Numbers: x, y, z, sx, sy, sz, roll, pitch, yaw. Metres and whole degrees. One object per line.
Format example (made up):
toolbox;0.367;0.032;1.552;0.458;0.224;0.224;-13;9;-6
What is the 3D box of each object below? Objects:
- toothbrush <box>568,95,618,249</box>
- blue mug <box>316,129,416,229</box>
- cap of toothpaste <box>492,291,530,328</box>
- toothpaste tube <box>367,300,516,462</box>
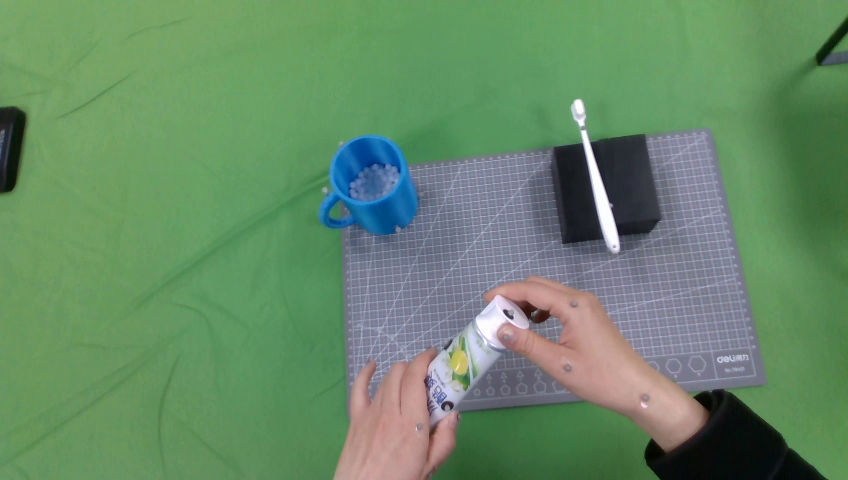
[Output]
toothbrush;0.184;-0.077;0.659;0.014;0.017;0.180;-10;74;-1
blue mug;-0.070;-0.057;0.686;0.116;0.106;0.082;-33;73;-3
cap of toothpaste;0.066;0.055;0.469;0.037;0.037;0.011;48;108;16
toothpaste tube;0.015;0.109;0.494;0.165;0.035;0.054;-48;55;17
